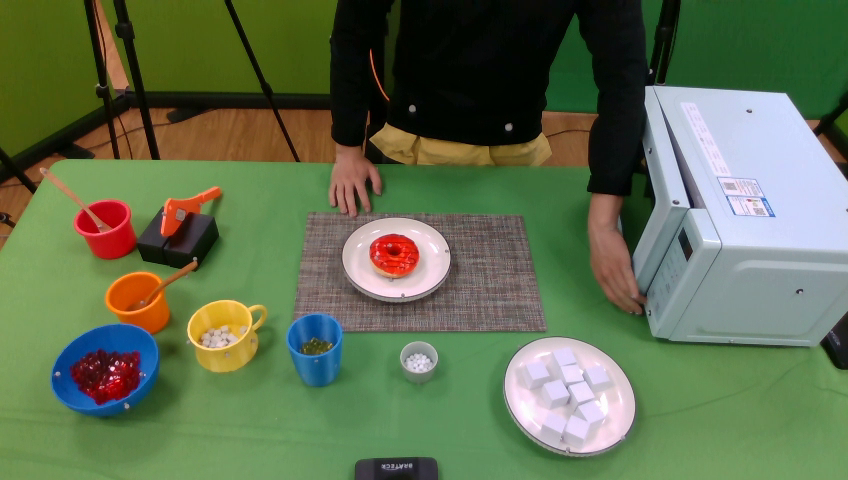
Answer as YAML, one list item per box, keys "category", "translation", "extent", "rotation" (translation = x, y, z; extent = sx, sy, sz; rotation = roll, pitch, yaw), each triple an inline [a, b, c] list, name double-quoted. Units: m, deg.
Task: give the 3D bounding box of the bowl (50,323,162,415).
- category: "bowl"
  translation: [-0.472, 0.209, 0.924]
  extent: [0.151, 0.077, 0.150]
  rotation: [2, 45, -2]

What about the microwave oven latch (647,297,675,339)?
- category: "microwave oven latch"
  translation: [0.413, 0.134, 1.061]
  extent: [0.030, 0.029, 0.078]
  rotation: [5, 45, 2]

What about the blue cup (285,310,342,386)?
- category: "blue cup"
  translation: [-0.169, 0.179, 0.958]
  extent: [0.093, 0.101, 0.092]
  rotation: [1, 44, -1]

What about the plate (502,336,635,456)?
- category: "plate"
  translation: [0.225, 0.248, 0.963]
  extent: [0.208, 0.039, 0.206]
  rotation: [2, 46, -2]

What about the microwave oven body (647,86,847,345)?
- category: "microwave oven body"
  translation: [0.568, -0.053, 1.118]
  extent: [0.326, 0.261, 0.439]
  rotation: [2, 45, -1]

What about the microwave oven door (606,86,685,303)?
- category: "microwave oven door"
  translation: [0.408, -0.095, 1.141]
  extent: [0.039, 0.245, 0.353]
  rotation: [6, 46, 2]

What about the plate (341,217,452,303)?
- category: "plate"
  translation: [-0.052, 0.040, 1.140]
  extent: [0.209, 0.038, 0.208]
  rotation: [2, 46, -2]

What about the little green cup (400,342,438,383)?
- category: "little green cup"
  translation: [-0.009, 0.202, 0.991]
  extent: [0.061, 0.039, 0.061]
  rotation: [2, 47, -2]

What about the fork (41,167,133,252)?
- category: "fork"
  translation: [-0.624, -0.056, 1.121]
  extent: [0.208, 0.018, 0.028]
  rotation: [50, 51, -15]

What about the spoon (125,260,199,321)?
- category: "spoon"
  translation: [-0.434, 0.083, 1.000]
  extent: [0.022, 0.194, 0.041]
  rotation: [34, 34, -35]

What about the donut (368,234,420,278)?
- category: "donut"
  translation: [-0.056, 0.030, 1.133]
  extent: [0.099, 0.048, 0.098]
  rotation: [4, 46, -4]

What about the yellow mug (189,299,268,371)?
- category: "yellow mug"
  translation: [-0.316, 0.148, 1.002]
  extent: [0.131, 0.064, 0.099]
  rotation: [-32, 56, -31]

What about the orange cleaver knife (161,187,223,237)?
- category: "orange cleaver knife"
  translation: [-0.448, -0.058, 1.181]
  extent: [0.012, 0.077, 0.211]
  rotation: [13, 17, 6]
